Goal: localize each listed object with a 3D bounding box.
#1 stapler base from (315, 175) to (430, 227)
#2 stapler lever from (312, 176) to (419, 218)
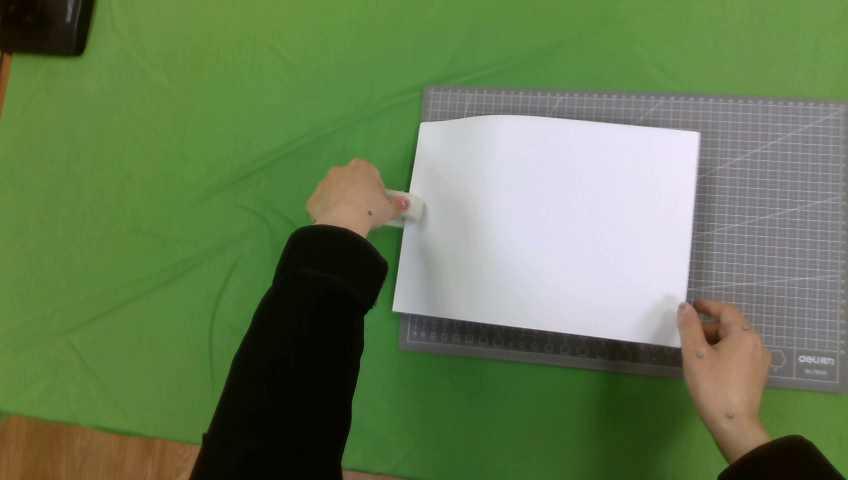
[{"bbox_3d":[-0.060,-0.045,0.670,0.130,0.024,0.041,10,83,11],"label":"stapler base"},{"bbox_3d":[-0.064,-0.047,0.653,0.118,0.040,0.027,11,82,3],"label":"stapler lever"}]
